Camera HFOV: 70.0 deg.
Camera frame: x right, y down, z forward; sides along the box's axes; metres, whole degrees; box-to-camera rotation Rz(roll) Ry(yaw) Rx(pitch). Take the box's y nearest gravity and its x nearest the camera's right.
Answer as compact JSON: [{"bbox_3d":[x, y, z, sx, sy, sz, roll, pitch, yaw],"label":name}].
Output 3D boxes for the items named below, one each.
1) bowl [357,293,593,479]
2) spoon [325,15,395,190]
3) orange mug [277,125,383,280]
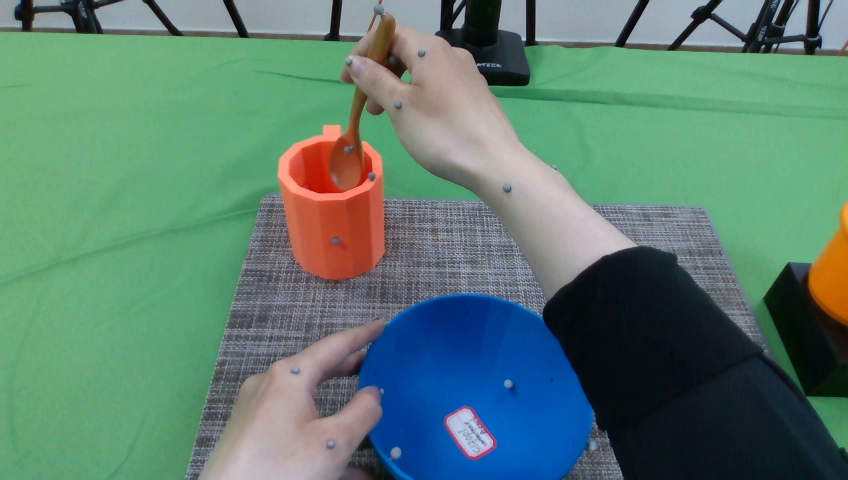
[{"bbox_3d":[0.030,0.118,0.412,0.151,0.077,0.150,2,46,-2],"label":"bowl"},{"bbox_3d":[-0.050,-0.093,0.454,0.021,0.194,0.041,-31,79,-25],"label":"spoon"},{"bbox_3d":[-0.081,-0.042,0.542,0.083,0.101,0.125,-3,51,-6],"label":"orange mug"}]
